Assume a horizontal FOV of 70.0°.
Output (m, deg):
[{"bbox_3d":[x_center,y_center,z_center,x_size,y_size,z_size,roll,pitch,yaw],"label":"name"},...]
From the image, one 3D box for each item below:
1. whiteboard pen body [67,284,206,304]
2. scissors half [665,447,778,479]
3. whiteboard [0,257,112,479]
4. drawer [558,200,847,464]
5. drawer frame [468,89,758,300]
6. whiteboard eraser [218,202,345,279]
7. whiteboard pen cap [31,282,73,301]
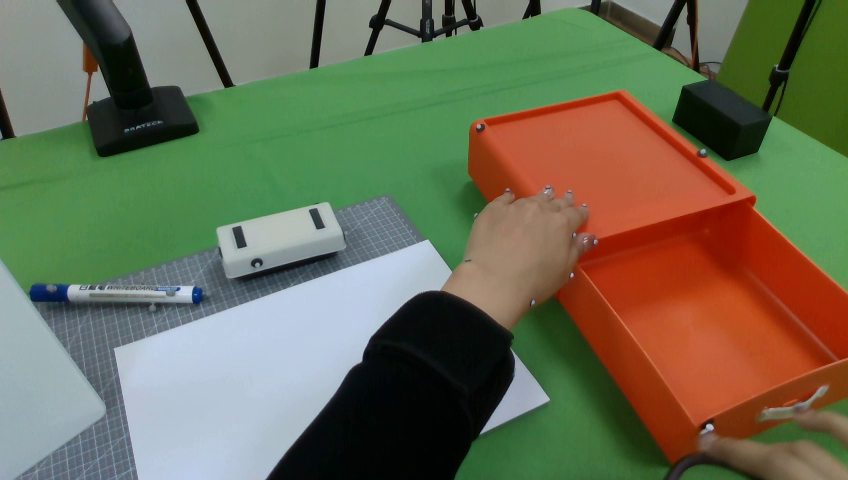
[{"bbox_3d":[-0.270,0.048,0.544,0.141,0.017,0.017,1,43,-4],"label":"whiteboard pen body"},{"bbox_3d":[0.120,0.149,0.367,0.175,0.013,0.040,-8,62,13],"label":"scissors half"},{"bbox_3d":[-0.397,0.048,0.381,0.142,0.308,0.217,15,42,44],"label":"whiteboard"},{"bbox_3d":[0.235,0.054,0.508,0.195,0.074,0.209,-15,46,-15],"label":"drawer"},{"bbox_3d":[0.177,-0.056,0.621,0.202,0.083,0.211,-15,44,-15],"label":"drawer frame"},{"bbox_3d":[-0.137,0.002,0.582,0.113,0.042,0.055,-16,44,-17],"label":"whiteboard eraser"},{"bbox_3d":[-0.329,0.046,0.541,0.033,0.018,0.018,1,42,-6],"label":"whiteboard pen cap"}]
